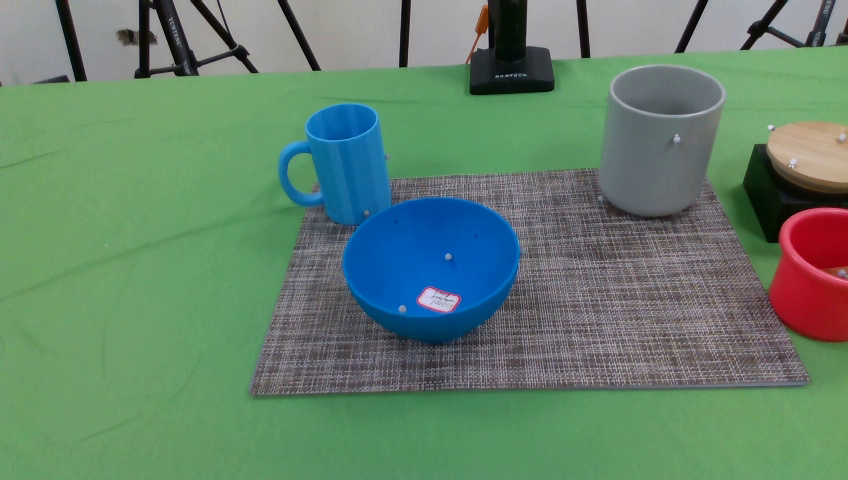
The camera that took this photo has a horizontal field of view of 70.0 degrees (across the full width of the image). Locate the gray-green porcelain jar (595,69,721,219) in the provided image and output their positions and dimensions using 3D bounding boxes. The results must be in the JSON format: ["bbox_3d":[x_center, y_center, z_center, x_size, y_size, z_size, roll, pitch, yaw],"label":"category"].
[{"bbox_3d":[0.232,-0.093,0.617,0.106,0.128,0.105,-4,41,3],"label":"gray-green porcelain jar"}]

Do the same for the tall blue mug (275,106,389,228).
[{"bbox_3d":[-0.094,-0.070,0.645,0.107,0.109,0.077,-33,49,-28],"label":"tall blue mug"}]

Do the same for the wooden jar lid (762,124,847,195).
[{"bbox_3d":[0.388,-0.078,0.591,0.108,0.021,0.107,-4,41,4],"label":"wooden jar lid"}]

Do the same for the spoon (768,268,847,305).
[{"bbox_3d":[0.368,0.017,0.468,0.022,0.193,0.041,49,49,-9],"label":"spoon"}]

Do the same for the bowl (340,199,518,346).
[{"bbox_3d":[0.007,0.040,0.531,0.151,0.077,0.150,-3,41,3],"label":"bowl"}]
